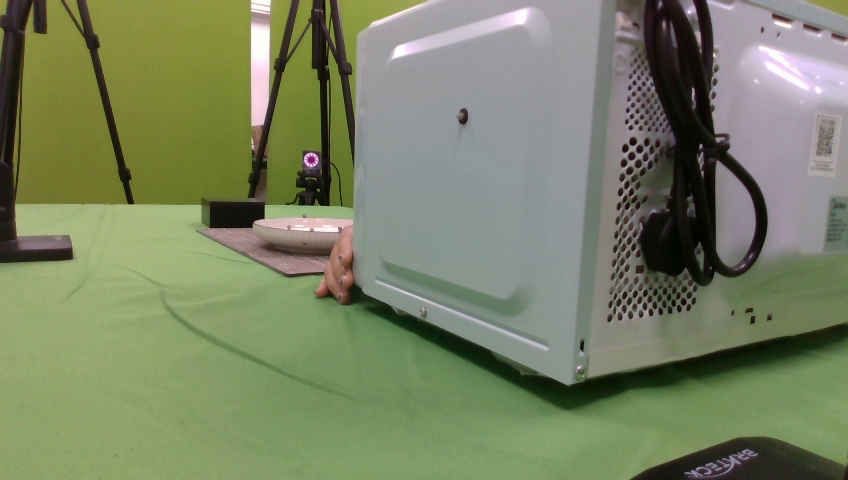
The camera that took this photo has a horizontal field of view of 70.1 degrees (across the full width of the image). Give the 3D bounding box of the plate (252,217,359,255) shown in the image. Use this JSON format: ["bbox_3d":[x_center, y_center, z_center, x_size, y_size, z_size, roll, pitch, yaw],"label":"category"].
[{"bbox_3d":[-0.155,-0.007,0.924,0.209,0.038,0.209,3,7,0],"label":"plate"}]

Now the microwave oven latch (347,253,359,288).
[{"bbox_3d":[-0.034,0.028,0.578,0.079,0.029,0.030,0,7,-27],"label":"microwave oven latch"}]

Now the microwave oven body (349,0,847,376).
[{"bbox_3d":[0.199,-0.053,0.540,0.444,0.260,0.324,-1,7,-32],"label":"microwave oven body"}]

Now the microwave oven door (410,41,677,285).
[{"bbox_3d":[0.154,-0.080,0.692,0.358,0.243,0.039,-2,8,-29],"label":"microwave oven door"}]

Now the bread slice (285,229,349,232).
[{"bbox_3d":[-0.153,-0.004,0.921,0.132,0.019,0.104,0,7,-30],"label":"bread slice"}]
